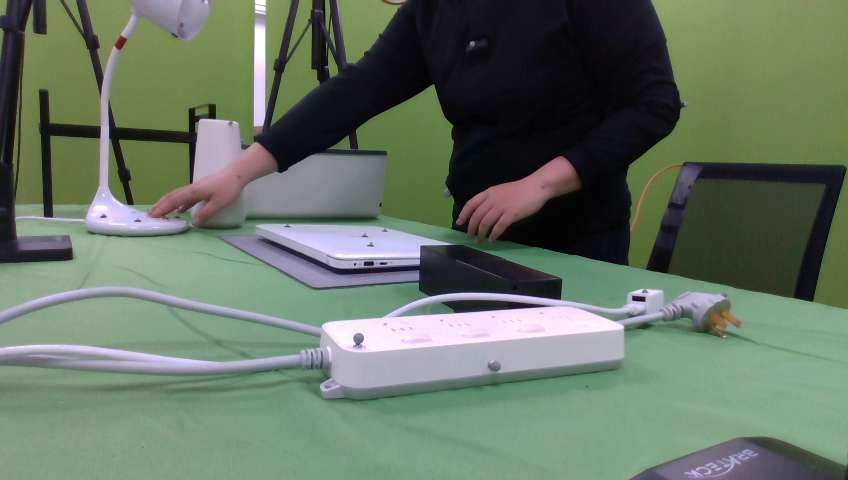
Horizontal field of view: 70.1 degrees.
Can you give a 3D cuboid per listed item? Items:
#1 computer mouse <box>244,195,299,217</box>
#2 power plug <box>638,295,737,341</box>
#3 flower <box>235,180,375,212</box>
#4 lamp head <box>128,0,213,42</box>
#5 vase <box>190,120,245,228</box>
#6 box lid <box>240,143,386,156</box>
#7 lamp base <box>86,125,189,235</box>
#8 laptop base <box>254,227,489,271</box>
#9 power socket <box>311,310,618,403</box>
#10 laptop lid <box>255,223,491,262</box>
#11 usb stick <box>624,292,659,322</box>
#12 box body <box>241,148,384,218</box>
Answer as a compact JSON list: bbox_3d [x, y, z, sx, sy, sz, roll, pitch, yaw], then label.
[{"bbox_3d":[-0.346,-0.077,1.372,0.118,0.041,0.062,-11,18,-33],"label":"computer mouse"},{"bbox_3d":[0.235,0.077,0.535,0.072,0.035,0.052,-33,40,-6],"label":"power plug"},{"bbox_3d":[-0.264,-0.092,1.417,0.364,0.038,0.044,8,-42,-39],"label":"flower"},{"bbox_3d":[-0.423,-0.394,0.980,0.123,0.112,0.112,20,7,-3],"label":"lamp head"},{"bbox_3d":[-0.389,-0.124,1.143,0.098,0.200,0.098,3,9,0],"label":"vase"},{"bbox_3d":[-0.304,-0.217,1.463,0.373,0.015,0.262,-2,8,-30],"label":"box lid"},{"bbox_3d":[-0.497,-0.105,1.027,0.179,0.180,0.160,1,7,3],"label":"lamp base"},{"bbox_3d":[-0.095,0.011,0.911,0.237,0.023,0.352,2,7,-32],"label":"laptop base"},{"bbox_3d":[0.034,0.074,0.415,0.228,0.032,0.072,-1,7,-24],"label":"power socket"},{"bbox_3d":[-0.093,0.000,0.911,0.243,0.013,0.355,1,8,-30],"label":"laptop lid"},{"bbox_3d":[0.211,0.064,0.581,0.021,0.027,0.059,0,-3,36],"label":"usb stick"},{"bbox_3d":[-0.307,-0.144,1.474,0.366,0.160,0.253,-1,9,-30],"label":"box body"}]
